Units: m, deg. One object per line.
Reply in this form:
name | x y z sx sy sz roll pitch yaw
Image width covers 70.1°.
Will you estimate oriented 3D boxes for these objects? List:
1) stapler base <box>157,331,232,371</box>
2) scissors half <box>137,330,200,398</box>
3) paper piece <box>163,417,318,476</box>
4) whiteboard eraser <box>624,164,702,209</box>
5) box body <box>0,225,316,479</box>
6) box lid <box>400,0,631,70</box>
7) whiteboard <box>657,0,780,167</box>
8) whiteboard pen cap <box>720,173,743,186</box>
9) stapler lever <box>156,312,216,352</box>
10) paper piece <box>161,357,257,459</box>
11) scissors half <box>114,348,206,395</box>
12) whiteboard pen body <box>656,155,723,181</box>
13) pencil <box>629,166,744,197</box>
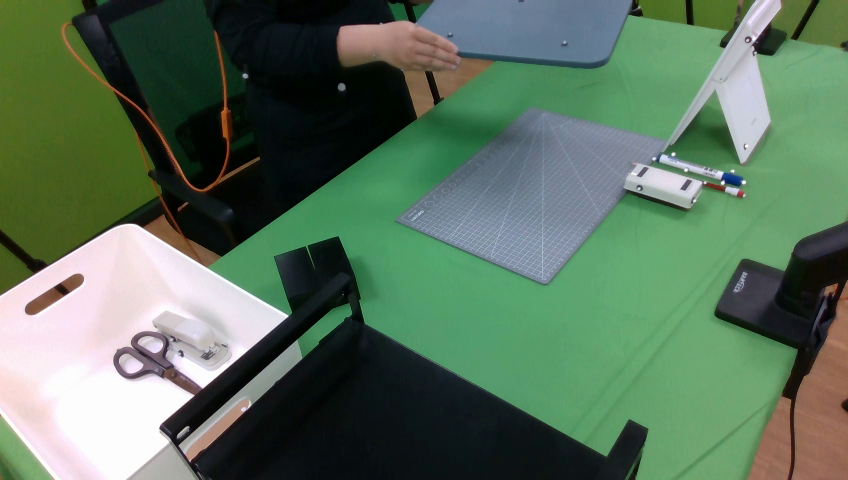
stapler base | -0.326 0.142 0.849 0.129 0.024 0.041 18 43 32
scissors half | -0.336 0.172 0.822 0.040 0.013 0.174 -36 53 -29
paper piece | -0.229 0.236 0.760 0.137 0.008 0.137 32 37 29
whiteboard eraser | 0.396 -0.087 1.003 0.112 0.042 0.056 22 48 31
box body | -0.339 0.162 0.728 0.361 0.161 0.255 23 48 31
box lid | 0.167 -0.388 1.085 0.369 0.015 0.263 12 49 21
whiteboard | 0.571 -0.272 1.038 0.143 0.306 0.218 37 54 17
whiteboard pen cap | 0.519 -0.103 1.020 0.033 0.018 0.018 23 49 30
stapler lever | -0.331 0.122 0.835 0.117 0.040 0.027 17 43 33
paper piece | -0.232 0.219 0.749 0.134 0.004 0.136 25 51 32
scissors half | -0.348 0.185 0.810 0.174 0.013 0.040 14 52 19
whiteboard pen body | 0.475 -0.123 1.052 0.139 0.017 0.017 24 50 32
pencil | 0.447 -0.103 1.038 0.192 0.012 0.012 21 48 29
